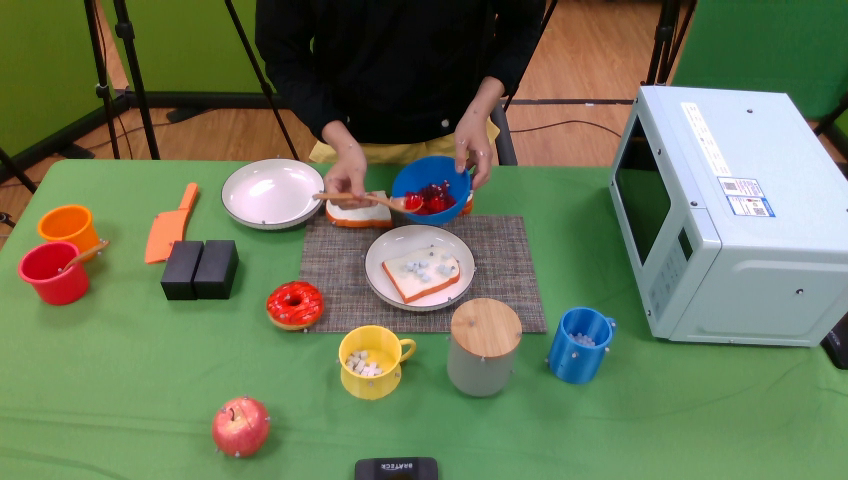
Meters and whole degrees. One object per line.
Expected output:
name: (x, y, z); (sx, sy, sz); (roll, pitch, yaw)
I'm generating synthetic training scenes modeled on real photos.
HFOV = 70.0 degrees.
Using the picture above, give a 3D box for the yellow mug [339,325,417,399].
yellow mug: (-0.072, 0.190, 0.978); (0.131, 0.064, 0.099); (-17, 50, -20)

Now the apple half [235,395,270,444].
apple half: (-0.245, 0.260, 0.893); (0.033, 0.082, 0.081); (-29, 55, -22)

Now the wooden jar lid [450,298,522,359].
wooden jar lid: (0.093, 0.135, 0.914); (0.108, 0.021, 0.107); (2, 48, -3)

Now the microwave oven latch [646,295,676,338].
microwave oven latch: (0.413, 0.133, 1.060); (0.030, 0.029, 0.078); (4, 46, 1)

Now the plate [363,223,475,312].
plate: (-0.009, 0.054, 1.127); (0.208, 0.039, 0.206); (2, 47, -2)

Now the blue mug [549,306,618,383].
blue mug: (0.269, 0.167, 0.997); (0.116, 0.106, 0.082); (-19, 51, -21)

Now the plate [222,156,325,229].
plate: (-0.308, -0.095, 1.251); (0.209, 0.038, 0.208); (3, 47, -2)

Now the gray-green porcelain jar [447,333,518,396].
gray-green porcelain jar: (0.091, 0.178, 0.960); (0.106, 0.127, 0.105); (2, 46, -2)

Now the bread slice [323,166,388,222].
bread slice: (-0.140, -0.092, 1.224); (0.134, 0.018, 0.106); (-19, 51, 6)

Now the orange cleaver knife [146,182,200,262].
orange cleaver knife: (-0.494, -0.039, 1.198); (0.077, 0.012, 0.210); (-3, 48, 2)

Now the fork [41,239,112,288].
fork: (-0.591, 0.040, 1.028); (0.207, 0.019, 0.028); (-27, 37, 29)

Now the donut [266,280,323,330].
donut: (-0.223, 0.112, 1.051); (0.099, 0.048, 0.098); (2, 46, -2)

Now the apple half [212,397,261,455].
apple half: (-0.276, 0.276, 0.877); (0.053, 0.075, 0.080); (-29, 58, -21)

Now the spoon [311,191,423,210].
spoon: (-0.095, -0.072, 1.033); (0.194, 0.022, 0.041); (6, 40, -22)

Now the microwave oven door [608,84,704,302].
microwave oven door: (0.424, -0.096, 1.138); (0.039, 0.245, 0.353); (2, 46, -1)

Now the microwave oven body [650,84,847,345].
microwave oven body: (0.569, -0.054, 1.116); (0.326, 0.261, 0.439); (2, 46, -1)

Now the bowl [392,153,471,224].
bowl: (0.021, -0.083, 1.149); (0.151, 0.077, 0.150); (-7, 53, 10)

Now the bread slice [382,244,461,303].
bread slice: (0.000, 0.054, 1.129); (0.131, 0.019, 0.104); (-20, 52, -20)
